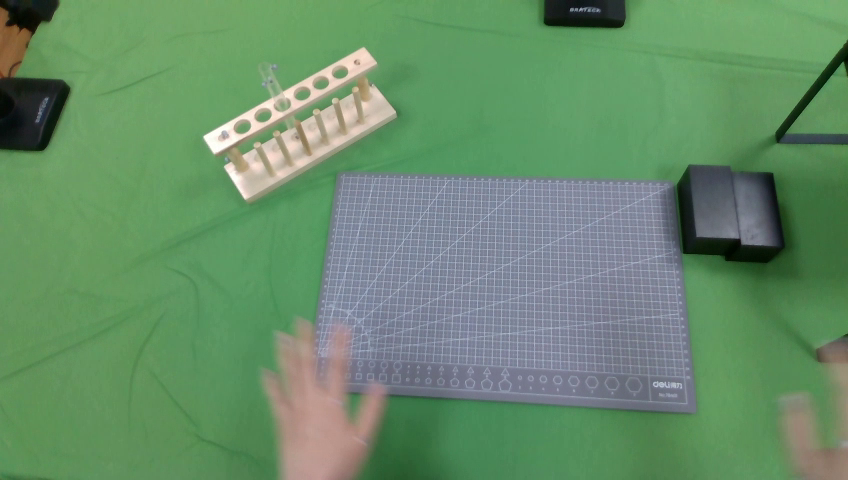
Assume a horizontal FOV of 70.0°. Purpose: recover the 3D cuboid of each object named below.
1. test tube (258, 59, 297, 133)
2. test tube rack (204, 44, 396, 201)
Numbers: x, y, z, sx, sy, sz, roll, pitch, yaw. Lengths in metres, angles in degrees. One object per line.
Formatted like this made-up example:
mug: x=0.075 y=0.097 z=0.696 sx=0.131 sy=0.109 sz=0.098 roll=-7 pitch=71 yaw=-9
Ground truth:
test tube: x=-0.184 y=-0.179 z=0.776 sx=0.017 sy=0.151 sz=0.017 roll=-1 pitch=69 yaw=2
test tube rack: x=-0.161 y=-0.158 z=0.819 sx=0.242 sy=0.086 sz=0.066 roll=-33 pitch=68 yaw=-10
